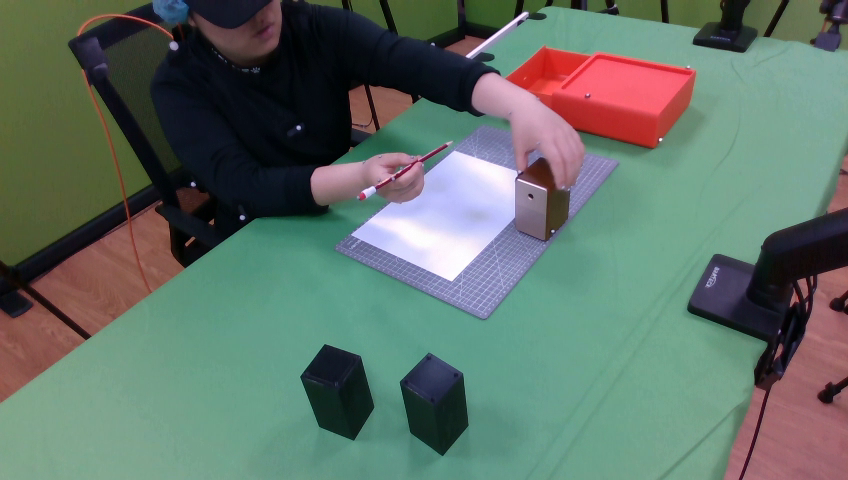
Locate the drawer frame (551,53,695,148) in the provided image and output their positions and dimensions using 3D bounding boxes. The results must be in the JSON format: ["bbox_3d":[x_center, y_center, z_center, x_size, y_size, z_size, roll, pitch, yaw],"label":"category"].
[{"bbox_3d":[0.391,-0.281,1.196,0.212,0.083,0.202,22,48,29],"label":"drawer frame"}]

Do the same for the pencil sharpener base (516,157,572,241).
[{"bbox_3d":[0.189,-0.065,0.948,0.061,0.107,0.077,24,49,33],"label":"pencil sharpener base"}]

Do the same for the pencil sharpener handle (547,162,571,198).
[{"bbox_3d":[0.221,-0.101,0.967,0.035,0.068,0.031,20,47,37],"label":"pencil sharpener handle"}]

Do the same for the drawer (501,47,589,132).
[{"bbox_3d":[0.296,-0.315,1.255,0.210,0.073,0.195,22,48,29],"label":"drawer"}]

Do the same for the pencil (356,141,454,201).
[{"bbox_3d":[-0.024,-0.107,0.909,0.195,0.012,0.012,-34,47,-27],"label":"pencil"}]
